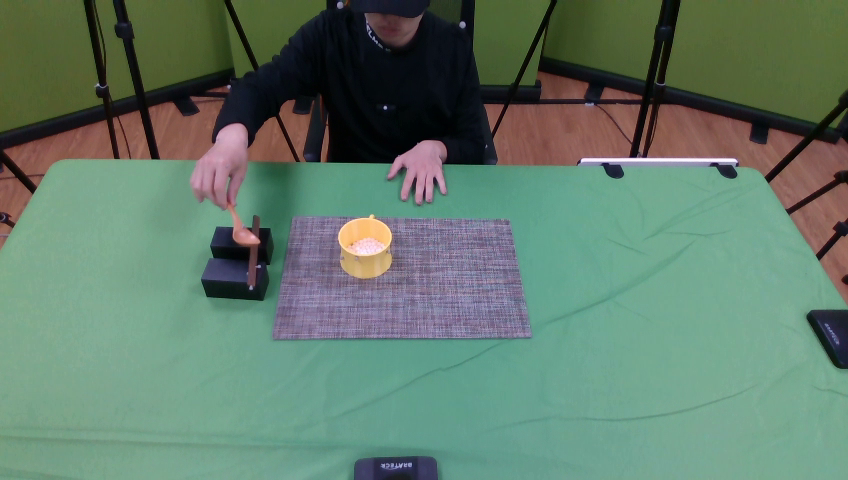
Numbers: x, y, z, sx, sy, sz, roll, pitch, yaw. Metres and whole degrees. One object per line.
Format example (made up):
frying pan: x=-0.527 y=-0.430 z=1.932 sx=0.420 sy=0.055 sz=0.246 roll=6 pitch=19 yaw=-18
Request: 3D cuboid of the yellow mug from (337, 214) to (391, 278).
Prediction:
yellow mug: x=-0.110 y=0.003 z=1.152 sx=0.100 sy=0.064 sz=0.130 roll=7 pitch=45 yaw=2

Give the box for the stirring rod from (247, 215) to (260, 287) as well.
stirring rod: x=-0.309 y=0.017 z=1.097 sx=0.014 sy=0.006 sz=0.175 roll=24 pitch=36 yaw=-31

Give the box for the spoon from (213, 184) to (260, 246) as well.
spoon: x=-0.331 y=-0.047 z=1.051 sx=0.042 sy=0.022 sz=0.192 roll=-4 pitch=42 yaw=-36
